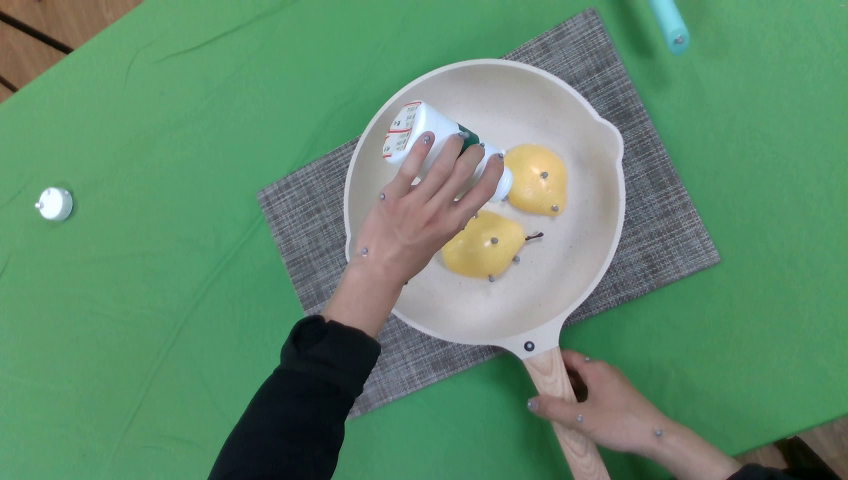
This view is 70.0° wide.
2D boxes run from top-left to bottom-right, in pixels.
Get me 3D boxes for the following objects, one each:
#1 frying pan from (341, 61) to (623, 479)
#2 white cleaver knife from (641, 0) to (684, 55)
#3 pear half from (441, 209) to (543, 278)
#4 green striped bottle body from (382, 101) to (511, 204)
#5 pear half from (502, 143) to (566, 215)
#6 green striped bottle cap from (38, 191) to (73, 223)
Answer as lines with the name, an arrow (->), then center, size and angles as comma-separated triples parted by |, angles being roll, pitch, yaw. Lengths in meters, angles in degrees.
frying pan -> 0.093, 0.057, 0.618 | 0.306, 0.103, 0.485 | -24, 75, 15
white cleaver knife -> 0.198, -0.315, 0.617 | 0.021, 0.066, 0.285 | -24, 81, 19
pear half -> 0.072, 0.001, 0.649 | 0.109, 0.056, 0.076 | -13, 91, 14
green striped bottle body -> 0.026, -0.075, 0.565 | 0.120, 0.062, 0.063 | 25, 98, -29
pear half -> 0.116, -0.065, 0.648 | 0.070, 0.031, 0.087 | -42, 75, 16
green striped bottle cap -> -0.506, -0.045, 0.833 | 0.044, 0.020, 0.044 | 0, 89, 16
